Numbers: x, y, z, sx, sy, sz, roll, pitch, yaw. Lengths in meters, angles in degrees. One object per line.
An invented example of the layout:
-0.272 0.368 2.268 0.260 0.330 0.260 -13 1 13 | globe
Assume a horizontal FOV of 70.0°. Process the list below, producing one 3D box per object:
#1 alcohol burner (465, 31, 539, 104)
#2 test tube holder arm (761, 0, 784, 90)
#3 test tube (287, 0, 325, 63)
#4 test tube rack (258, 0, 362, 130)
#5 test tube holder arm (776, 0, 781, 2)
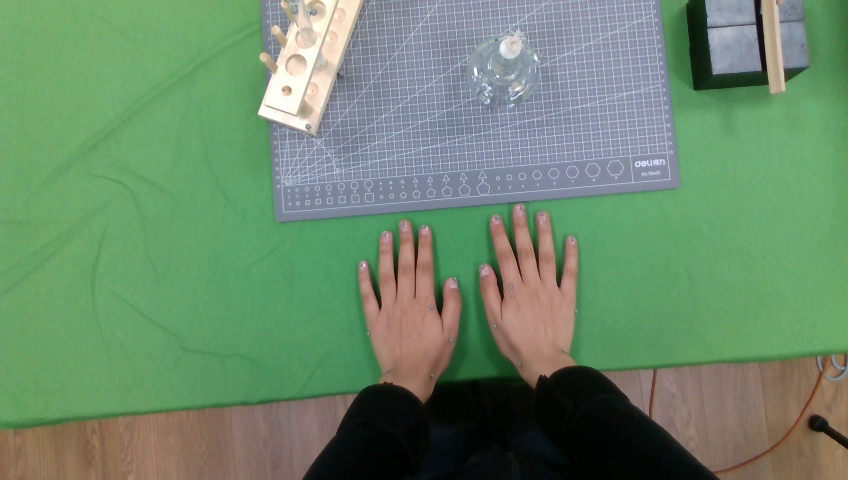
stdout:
0.082 -0.184 0.624 0.078 0.119 0.077 0 85 1 | alcohol burner
0.352 -0.241 0.615 0.013 0.015 0.178 0 87 -30 | test tube holder arm
-0.115 -0.209 0.598 0.017 0.150 0.017 0 84 -1 | test tube
-0.117 -0.251 0.650 0.066 0.085 0.242 19 88 4 | test tube rack
0.356 -0.286 0.621 0.010 0.015 0.087 2 86 -30 | test tube holder arm
